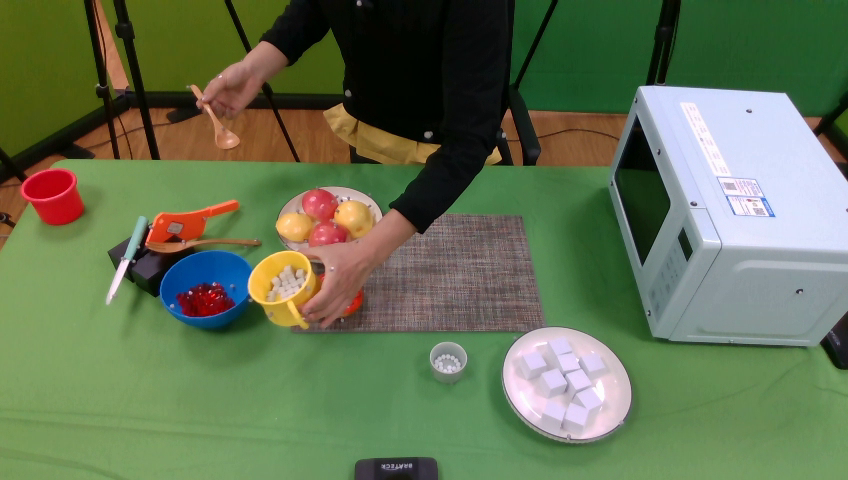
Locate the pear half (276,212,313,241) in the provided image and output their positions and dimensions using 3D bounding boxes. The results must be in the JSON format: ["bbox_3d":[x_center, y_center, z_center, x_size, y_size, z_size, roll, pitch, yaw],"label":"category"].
[{"bbox_3d":[-0.245,-0.035,1.178,0.070,0.031,0.088,40,41,1],"label":"pear half"}]

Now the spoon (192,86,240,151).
[{"bbox_3d":[-0.401,-0.235,1.155,0.041,0.022,0.193,-27,66,-18],"label":"spoon"}]

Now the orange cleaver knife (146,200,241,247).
[{"bbox_3d":[-0.435,-0.033,1.157,0.012,0.077,0.211,31,26,19],"label":"orange cleaver knife"}]

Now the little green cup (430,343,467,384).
[{"bbox_3d":[0.039,0.203,0.993,0.061,0.039,0.061,3,46,-2],"label":"little green cup"}]

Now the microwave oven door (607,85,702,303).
[{"bbox_3d":[0.423,-0.094,1.140,0.039,0.245,0.353,2,46,-1],"label":"microwave oven door"}]

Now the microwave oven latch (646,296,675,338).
[{"bbox_3d":[0.412,0.134,1.061,0.030,0.029,0.078,4,45,1],"label":"microwave oven latch"}]

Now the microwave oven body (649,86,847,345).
[{"bbox_3d":[0.568,-0.053,1.118,0.326,0.261,0.439,2,45,-1],"label":"microwave oven body"}]

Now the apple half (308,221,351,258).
[{"bbox_3d":[-0.180,-0.005,1.150,0.074,0.053,0.080,14,42,9],"label":"apple half"}]

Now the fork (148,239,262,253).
[{"bbox_3d":[-0.398,0.008,1.117,0.208,0.019,0.028,-5,33,-37],"label":"fork"}]

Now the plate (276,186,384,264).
[{"bbox_3d":[-0.184,-0.027,1.195,0.209,0.038,0.208,2,46,-2],"label":"plate"}]

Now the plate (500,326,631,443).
[{"bbox_3d":[0.224,0.234,0.978,0.208,0.039,0.206,2,46,-2],"label":"plate"}]

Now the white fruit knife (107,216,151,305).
[{"bbox_3d":[-0.518,0.032,1.067,0.027,0.016,0.206,-19,45,19],"label":"white fruit knife"}]

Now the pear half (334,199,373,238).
[{"bbox_3d":[-0.147,-0.060,1.210,0.076,0.056,0.109,-17,45,-25],"label":"pear half"}]

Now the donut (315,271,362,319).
[{"bbox_3d":[-0.157,0.097,1.073,0.099,0.048,0.098,4,44,-4],"label":"donut"}]

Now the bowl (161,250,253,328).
[{"bbox_3d":[-0.362,0.098,1.040,0.151,0.077,0.150,2,45,-2],"label":"bowl"}]

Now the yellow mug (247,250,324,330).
[{"bbox_3d":[-0.206,0.084,0.927,0.100,0.064,0.130,-28,51,-6],"label":"yellow mug"}]

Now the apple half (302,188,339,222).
[{"bbox_3d":[-0.205,-0.076,1.217,0.081,0.033,0.081,18,46,-19],"label":"apple half"}]
